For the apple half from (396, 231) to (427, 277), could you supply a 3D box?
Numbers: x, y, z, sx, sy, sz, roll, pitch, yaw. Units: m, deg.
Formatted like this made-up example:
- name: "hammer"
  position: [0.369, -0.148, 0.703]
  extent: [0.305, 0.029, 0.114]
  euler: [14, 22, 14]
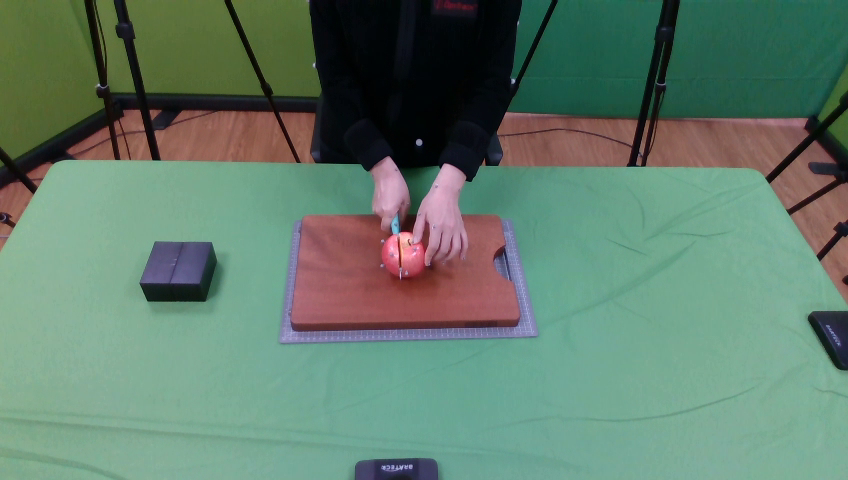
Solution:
- name: "apple half"
  position: [-0.022, 0.027, 1.095]
  extent: [0.053, 0.075, 0.080]
  euler: [-1, 44, -11]

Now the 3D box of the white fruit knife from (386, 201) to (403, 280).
- name: "white fruit knife"
  position: [-0.052, -0.005, 1.124]
  extent: [0.016, 0.027, 0.206]
  euler: [-7, 46, -5]

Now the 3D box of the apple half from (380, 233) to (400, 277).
- name: "apple half"
  position: [-0.062, 0.030, 1.090]
  extent: [0.033, 0.081, 0.081]
  euler: [-4, 47, -5]
